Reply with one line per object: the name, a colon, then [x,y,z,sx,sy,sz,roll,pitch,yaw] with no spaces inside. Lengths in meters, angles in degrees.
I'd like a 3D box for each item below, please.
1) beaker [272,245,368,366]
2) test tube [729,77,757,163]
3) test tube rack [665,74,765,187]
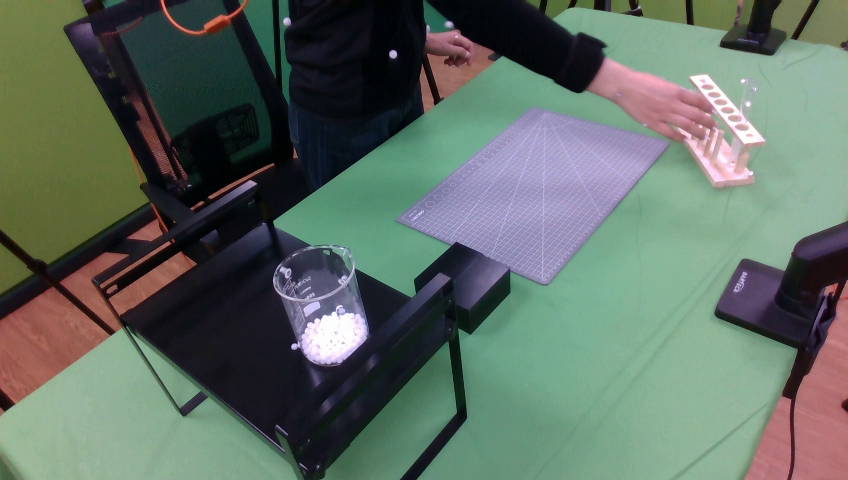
beaker: [-0.093,0.064,0.578,0.073,0.101,0.084,21,48,29]
test tube: [0.525,-0.195,0.997,0.017,0.151,0.017,-5,36,4]
test tube rack: [0.512,-0.202,1.082,0.067,0.085,0.241,-6,41,2]
